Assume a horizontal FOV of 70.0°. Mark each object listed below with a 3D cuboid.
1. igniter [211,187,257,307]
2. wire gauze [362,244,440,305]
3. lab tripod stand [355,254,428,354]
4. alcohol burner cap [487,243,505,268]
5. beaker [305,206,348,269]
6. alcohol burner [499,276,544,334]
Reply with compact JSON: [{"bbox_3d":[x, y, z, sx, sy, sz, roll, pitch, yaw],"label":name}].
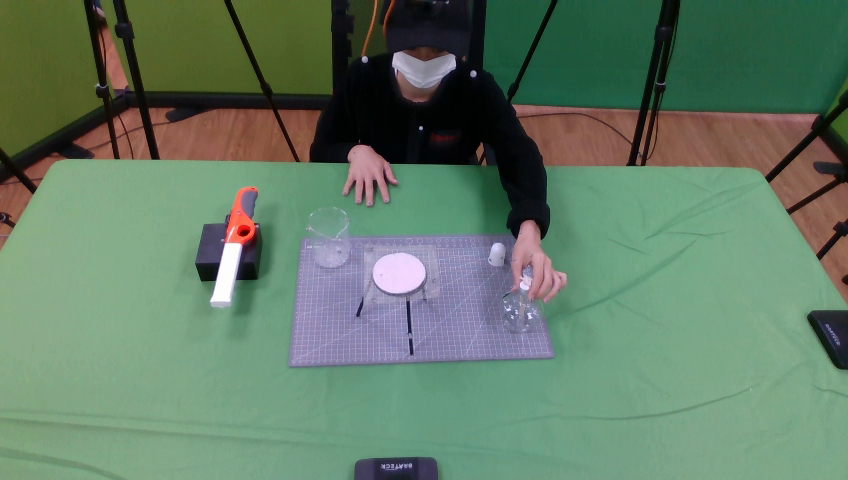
[{"bbox_3d":[-0.343,0.003,1.100,0.057,0.025,0.274,2,49,-4],"label":"igniter"},{"bbox_3d":[-0.038,0.051,0.971,0.121,0.011,0.124,-1,46,-4],"label":"wire gauze"},{"bbox_3d":[-0.046,0.100,1.017,0.148,0.132,0.147,1,47,-1],"label":"lab tripod stand"},{"bbox_3d":[0.141,0.027,1.166,0.034,0.048,0.033,2,45,-1],"label":"alcohol burner cap"},{"bbox_3d":[-0.177,0.001,1.126,0.074,0.101,0.083,-13,49,-16],"label":"beaker"},{"bbox_3d":[0.169,0.106,1.041,0.078,0.120,0.077,1,44,-1],"label":"alcohol burner"}]
